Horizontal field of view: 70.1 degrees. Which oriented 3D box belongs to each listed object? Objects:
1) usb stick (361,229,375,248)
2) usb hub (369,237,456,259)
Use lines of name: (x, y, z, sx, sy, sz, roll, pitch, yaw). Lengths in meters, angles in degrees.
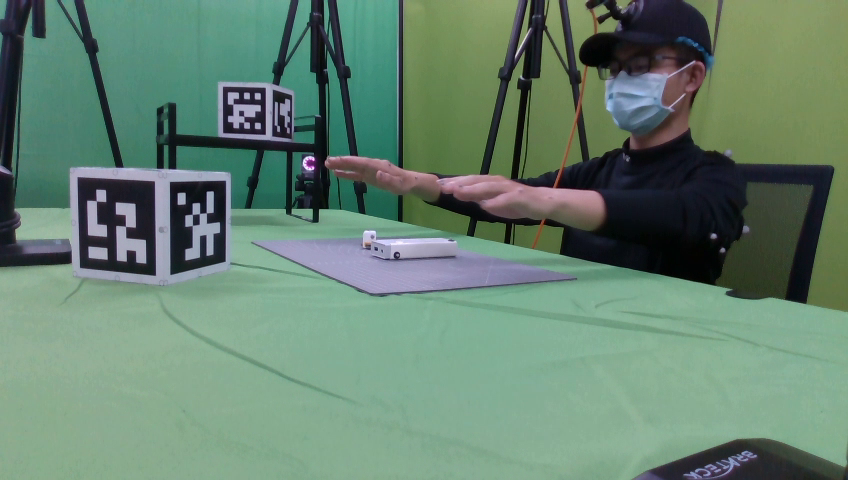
usb stick: (-0.091, -0.001, 0.984, 0.021, 0.027, 0.059, 2, 9, -4)
usb hub: (-0.016, 0.012, 0.909, 0.126, 0.025, 0.049, -2, 9, -32)
